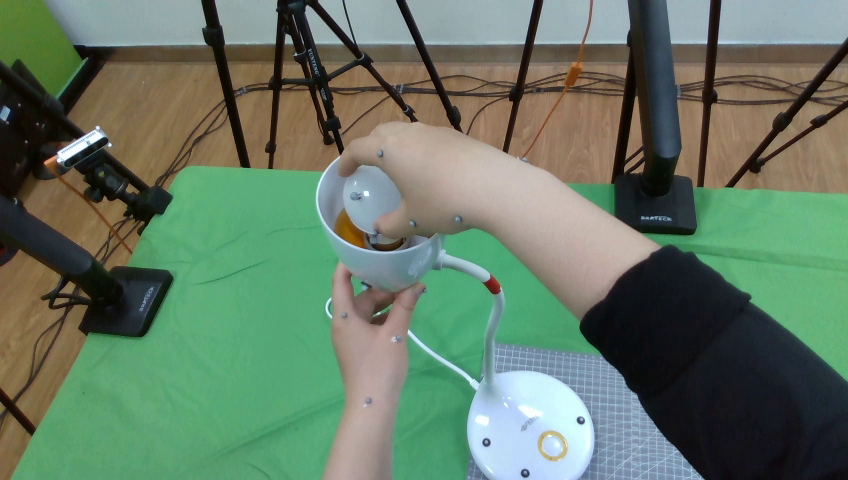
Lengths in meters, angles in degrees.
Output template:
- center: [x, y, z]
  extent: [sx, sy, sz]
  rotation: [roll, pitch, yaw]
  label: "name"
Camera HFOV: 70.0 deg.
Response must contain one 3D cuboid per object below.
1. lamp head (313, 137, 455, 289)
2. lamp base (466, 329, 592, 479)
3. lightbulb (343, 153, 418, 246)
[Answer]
- center: [-0.028, -0.010, 0.524]
  extent: [0.112, 0.124, 0.111]
  rotation: [-2, 57, 4]
  label: "lamp head"
- center: [0.113, 0.184, 0.721]
  extent: [0.177, 0.182, 0.160]
  rotation: [27, 62, 29]
  label: "lamp base"
- center: [-0.034, -0.026, 0.496]
  extent: [0.059, 0.108, 0.059]
  rotation: [0, 60, 1]
  label: "lightbulb"
